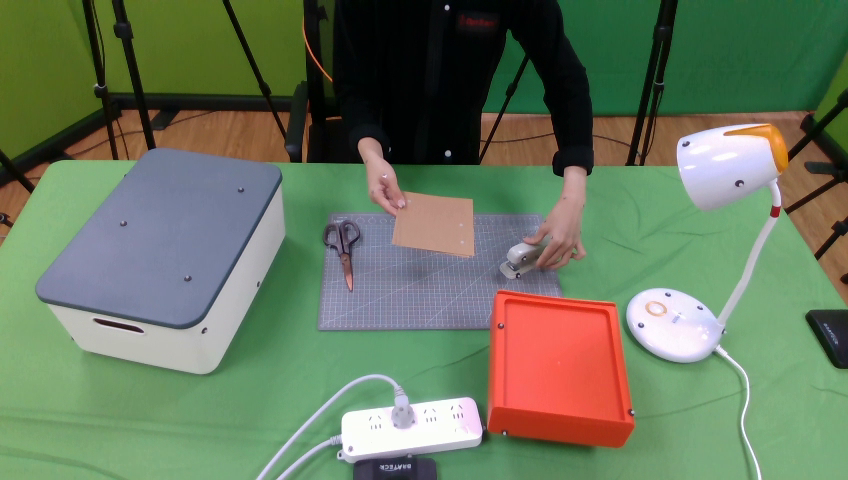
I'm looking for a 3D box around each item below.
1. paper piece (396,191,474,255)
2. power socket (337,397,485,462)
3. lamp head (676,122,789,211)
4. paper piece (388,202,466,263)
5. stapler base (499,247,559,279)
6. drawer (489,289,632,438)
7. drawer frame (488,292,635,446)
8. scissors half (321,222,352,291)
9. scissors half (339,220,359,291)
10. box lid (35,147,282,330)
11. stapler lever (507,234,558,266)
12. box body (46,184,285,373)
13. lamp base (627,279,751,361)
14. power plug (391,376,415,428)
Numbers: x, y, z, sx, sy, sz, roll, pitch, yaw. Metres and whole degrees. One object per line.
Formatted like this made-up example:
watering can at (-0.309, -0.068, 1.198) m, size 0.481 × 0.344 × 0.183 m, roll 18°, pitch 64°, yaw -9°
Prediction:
paper piece at (0.021, -0.032, 1.066) m, size 0.136 × 0.009 × 0.137 m, roll 9°, pitch 48°, yaw -8°
power socket at (-0.018, 0.285, 0.915) m, size 0.227 × 0.033 × 0.071 m, roll -5°, pitch 46°, yaw -8°
lamp head at (0.423, -0.104, 0.819) m, size 0.122 × 0.113 × 0.112 m, roll -13°, pitch 33°, yaw 40°
paper piece at (0.012, -0.020, 1.070) m, size 0.135 × 0.004 × 0.135 m, roll 13°, pitch 44°, yaw -1°
stapler base at (0.206, 0.032, 1.178) m, size 0.130 × 0.024 × 0.041 m, roll -24°, pitch 56°, yaw -27°
drawer at (0.203, 0.185, 0.934) m, size 0.194 × 0.073 × 0.210 m, roll 7°, pitch 47°, yaw 1°
drawer frame at (0.204, 0.191, 0.931) m, size 0.202 × 0.083 × 0.212 m, roll 7°, pitch 45°, yaw 2°
scissors half at (-0.163, 0.031, 1.160) m, size 0.040 × 0.013 × 0.174 m, roll -17°, pitch 51°, yaw -13°
scissors half at (-0.144, 0.026, 1.162) m, size 0.040 × 0.013 × 0.174 m, roll -7°, pitch 51°, yaw 2°
box lid at (-0.411, -0.023, 0.987) m, size 0.263 × 0.015 × 0.369 m, roll 10°, pitch 47°, yaw 5°
stapler lever at (0.209, 0.015, 1.160) m, size 0.118 × 0.040 × 0.026 m, roll -25°, pitch 56°, yaw -27°
box body at (-0.414, 0.029, 1.040) m, size 0.254 × 0.161 × 0.362 m, roll 10°, pitch 46°, yaw 5°
lamp base at (0.460, 0.100, 1.027) m, size 0.178 × 0.181 × 0.160 m, roll 27°, pitch 51°, yaw 17°
power plug at (-0.030, 0.249, 0.917) m, size 0.035 × 0.053 × 0.072 m, roll 3°, pitch 46°, yaw -1°
